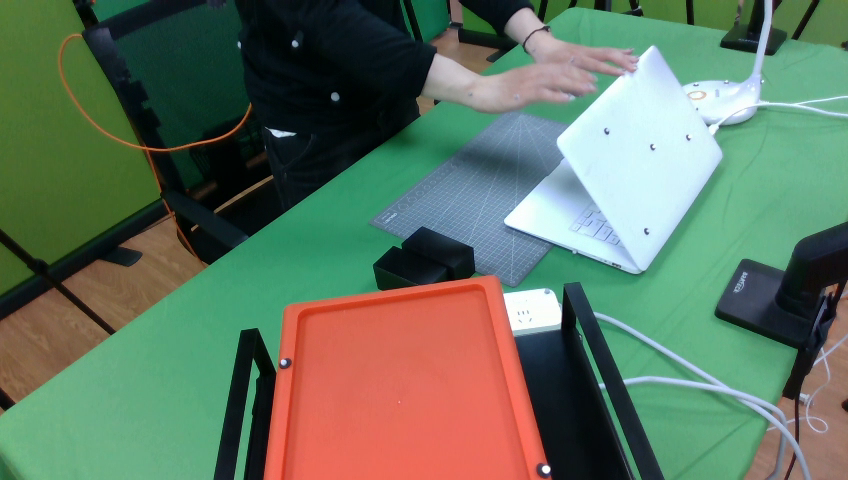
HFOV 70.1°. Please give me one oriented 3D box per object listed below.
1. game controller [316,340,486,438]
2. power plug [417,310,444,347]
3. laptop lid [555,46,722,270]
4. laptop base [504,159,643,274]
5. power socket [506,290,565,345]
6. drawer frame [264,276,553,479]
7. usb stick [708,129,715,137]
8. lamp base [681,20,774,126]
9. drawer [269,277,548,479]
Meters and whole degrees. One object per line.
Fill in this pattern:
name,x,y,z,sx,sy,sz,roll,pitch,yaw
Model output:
game controller,-0.021,0.120,0.534,0.155,0.052,0.096,-3,36,0
power plug,0.007,0.123,0.784,0.035,0.053,0.072,-1,42,8
laptop lid,0.351,-0.142,0.942,0.358,0.242,0.013,-41,10,-35
laptop base,0.325,-0.083,1.028,0.233,0.023,0.355,21,48,32
power socket,0.081,0.112,0.822,0.227,0.033,0.072,-7,40,0
drawer frame,-0.016,0.137,0.490,0.202,0.083,0.212,-8,41,-1
usb stick,0.501,-0.176,1.092,0.021,0.027,0.059,30,56,29
lamp base,0.581,-0.332,1.154,0.179,0.181,0.160,2,42,7
drawer,-0.018,0.137,0.493,0.195,0.073,0.210,-7,41,-1
